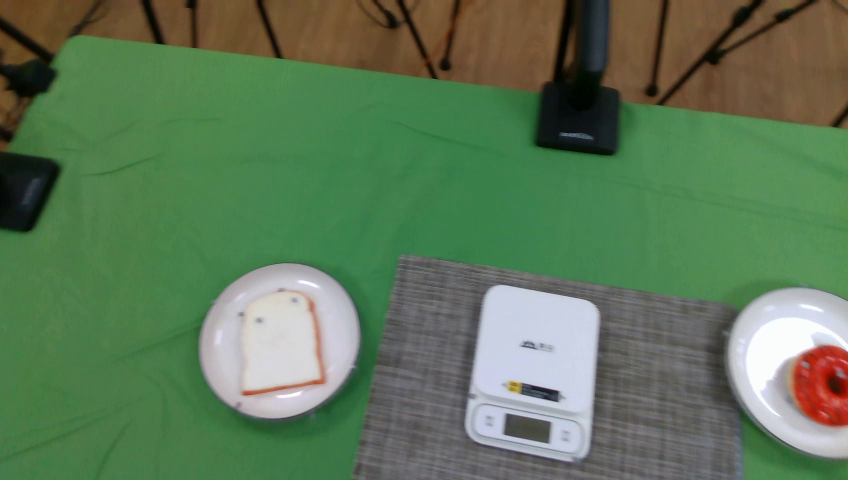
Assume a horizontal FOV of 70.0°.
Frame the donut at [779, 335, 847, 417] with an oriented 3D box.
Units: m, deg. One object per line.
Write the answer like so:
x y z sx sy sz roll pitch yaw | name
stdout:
0.480 0.164 0.728 0.099 0.048 0.098 0 71 2 | donut

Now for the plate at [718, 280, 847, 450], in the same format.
0.467 0.152 0.746 0.207 0.039 0.206 -1 67 3 | plate

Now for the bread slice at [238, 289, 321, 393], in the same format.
-0.194 0.127 0.793 0.105 0.019 0.130 -10 66 -1 | bread slice

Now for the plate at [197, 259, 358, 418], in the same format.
-0.188 0.127 0.792 0.209 0.038 0.207 -1 67 3 | plate

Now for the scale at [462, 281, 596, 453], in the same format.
0.134 0.155 0.762 0.148 0.032 0.199 9 68 7 | scale
